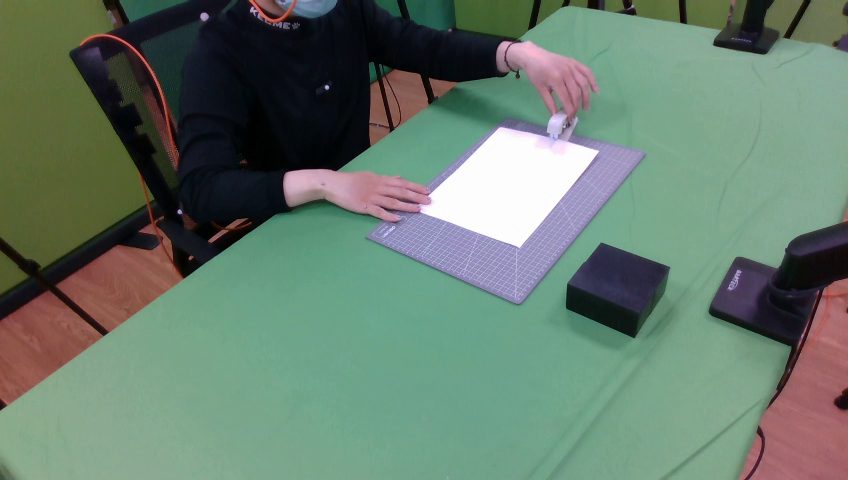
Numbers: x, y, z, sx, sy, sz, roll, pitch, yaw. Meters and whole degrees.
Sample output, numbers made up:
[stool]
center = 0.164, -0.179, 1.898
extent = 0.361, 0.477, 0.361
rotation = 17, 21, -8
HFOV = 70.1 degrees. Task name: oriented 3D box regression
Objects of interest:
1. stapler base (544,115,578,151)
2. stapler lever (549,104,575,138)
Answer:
[stapler base]
center = 0.269, -0.218, 1.179
extent = 0.041, 0.024, 0.130
rotation = 13, 42, 20
[stapler lever]
center = 0.266, -0.237, 1.165
extent = 0.026, 0.040, 0.118
rotation = 13, 43, 20
